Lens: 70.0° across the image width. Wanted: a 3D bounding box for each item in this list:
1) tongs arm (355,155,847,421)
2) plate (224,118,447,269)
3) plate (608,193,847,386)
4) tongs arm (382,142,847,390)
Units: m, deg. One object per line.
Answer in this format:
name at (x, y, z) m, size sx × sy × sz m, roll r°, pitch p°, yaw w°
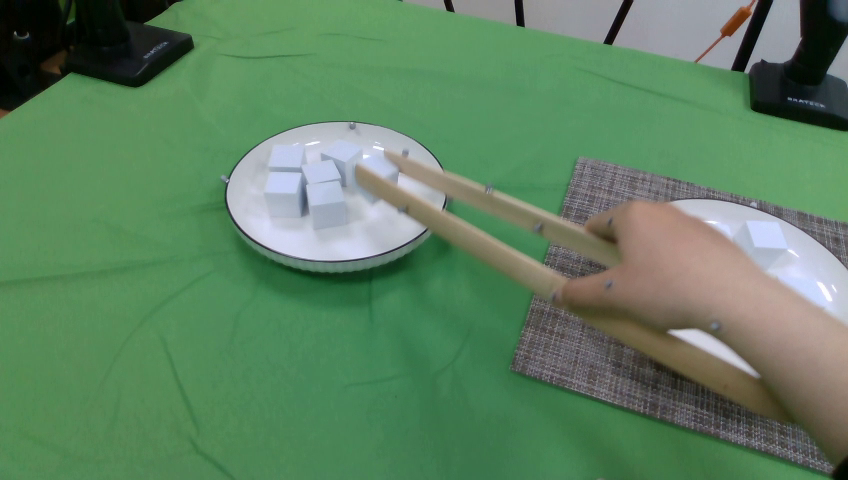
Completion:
tongs arm at (0.083, 0.015, 0.431) m, size 0.384 × 0.028 × 0.028 m, roll 30°, pitch 45°, yaw 32°
plate at (-0.082, -0.045, 0.586) m, size 0.209 × 0.038 × 0.207 m, roll 3°, pitch 45°, yaw -2°
plate at (0.260, 0.040, 0.522) m, size 0.208 × 0.039 × 0.205 m, roll 2°, pitch 46°, yaw -2°
tongs arm at (0.099, 0.004, 0.444) m, size 0.381 × 0.027 × 0.050 m, roll 26°, pitch 46°, yaw 30°
